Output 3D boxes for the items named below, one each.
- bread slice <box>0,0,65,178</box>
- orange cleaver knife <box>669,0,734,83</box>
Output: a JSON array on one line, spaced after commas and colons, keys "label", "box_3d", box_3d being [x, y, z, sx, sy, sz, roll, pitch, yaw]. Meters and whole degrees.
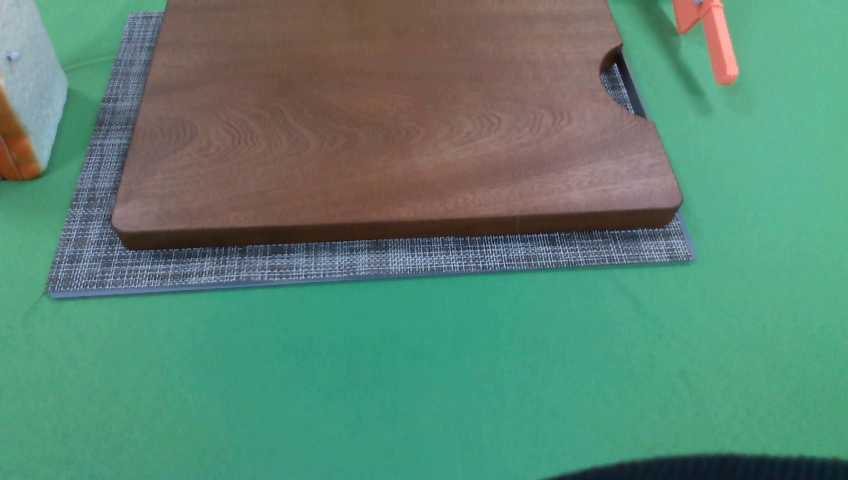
[{"label": "bread slice", "box_3d": [-0.292, -0.124, 0.433, 0.019, 0.132, 0.104, -1, 56, -12]}, {"label": "orange cleaver knife", "box_3d": [0.248, -0.231, 0.560, 0.012, 0.077, 0.210, -1, 75, -7]}]
